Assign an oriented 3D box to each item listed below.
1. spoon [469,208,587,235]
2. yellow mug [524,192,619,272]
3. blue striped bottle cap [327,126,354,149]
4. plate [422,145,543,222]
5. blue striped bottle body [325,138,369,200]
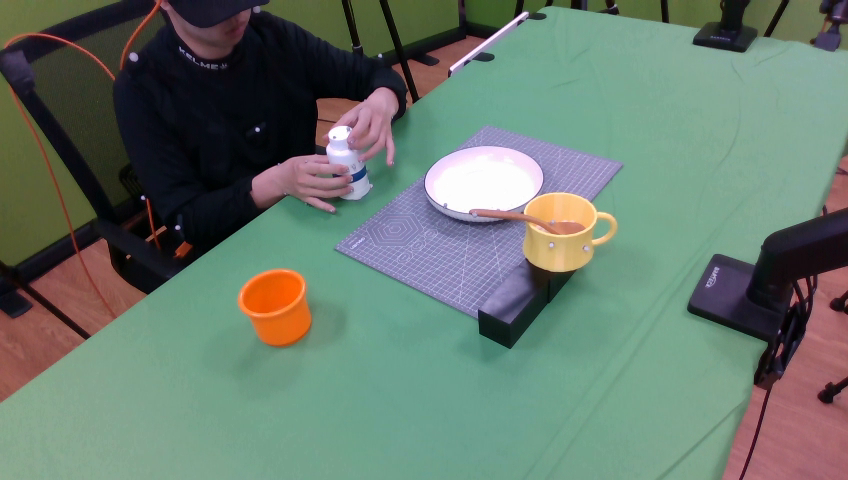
[{"bbox_3d":[0.143,-0.026,0.817,0.195,0.021,0.041,12,34,-29],"label":"spoon"},{"bbox_3d":[0.206,-0.013,0.845,0.131,0.064,0.099,-3,40,2],"label":"yellow mug"},{"bbox_3d":[-0.143,-0.175,1.035,0.044,0.021,0.044,-3,44,4],"label":"blue striped bottle cap"},{"bbox_3d":[0.101,-0.094,1.048,0.207,0.039,0.206,-4,41,4],"label":"plate"},{"bbox_3d":[-0.138,-0.135,1.070,0.063,0.121,0.063,-4,41,4],"label":"blue striped bottle body"}]
